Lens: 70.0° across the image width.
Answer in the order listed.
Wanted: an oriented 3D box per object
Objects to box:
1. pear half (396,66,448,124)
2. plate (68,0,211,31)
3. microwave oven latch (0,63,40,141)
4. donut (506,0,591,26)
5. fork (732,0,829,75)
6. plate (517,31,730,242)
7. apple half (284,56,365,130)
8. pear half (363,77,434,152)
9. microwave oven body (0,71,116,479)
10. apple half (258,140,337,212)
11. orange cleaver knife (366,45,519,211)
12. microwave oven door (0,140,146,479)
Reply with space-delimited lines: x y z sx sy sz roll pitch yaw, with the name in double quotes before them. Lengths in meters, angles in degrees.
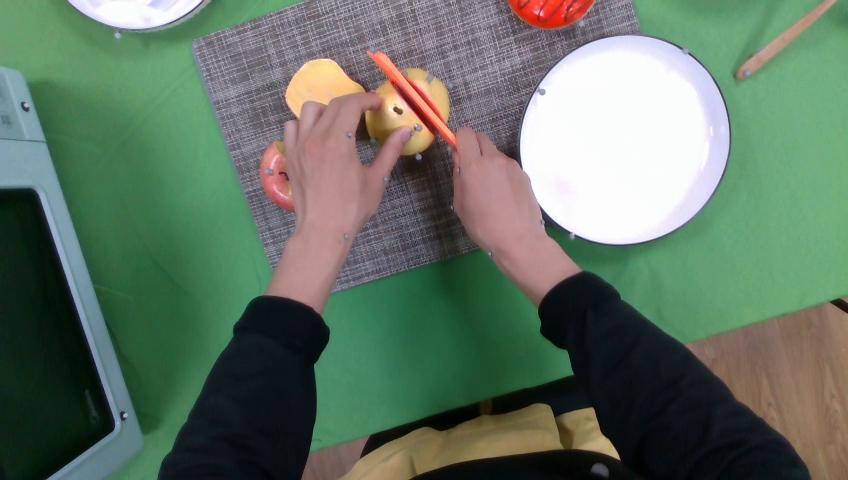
"pear half" 0.002 -0.149 0.599 0.070 0.088 0.031 38 84 -2
"plate" -0.290 -0.319 0.620 0.207 0.039 0.208 0 97 3
"microwave oven latch" -0.433 -0.142 0.633 0.030 0.029 0.079 -14 97 4
"donut" 0.123 -0.262 0.597 0.099 0.048 0.099 1 99 6
"fork" 0.381 -0.233 0.568 0.028 0.018 0.207 40 118 -10
"plate" 0.198 -0.103 0.617 0.209 0.038 0.209 0 97 3
"apple half" -0.105 -0.145 0.627 0.081 0.033 0.081 2 77 -9
"pear half" -0.032 -0.116 0.591 0.076 0.110 0.056 45 100 2
"microwave oven body" -0.536 0.076 0.571 0.326 0.259 0.442 -15 97 5
"apple half" -0.136 -0.059 0.624 0.081 0.074 0.053 37 102 -5
"orange cleaver knife" 0.018 -0.110 0.598 0.012 0.077 0.212 -43 105 5
"microwave oven door" -0.385 0.081 0.558 0.039 0.243 0.356 -15 96 5
